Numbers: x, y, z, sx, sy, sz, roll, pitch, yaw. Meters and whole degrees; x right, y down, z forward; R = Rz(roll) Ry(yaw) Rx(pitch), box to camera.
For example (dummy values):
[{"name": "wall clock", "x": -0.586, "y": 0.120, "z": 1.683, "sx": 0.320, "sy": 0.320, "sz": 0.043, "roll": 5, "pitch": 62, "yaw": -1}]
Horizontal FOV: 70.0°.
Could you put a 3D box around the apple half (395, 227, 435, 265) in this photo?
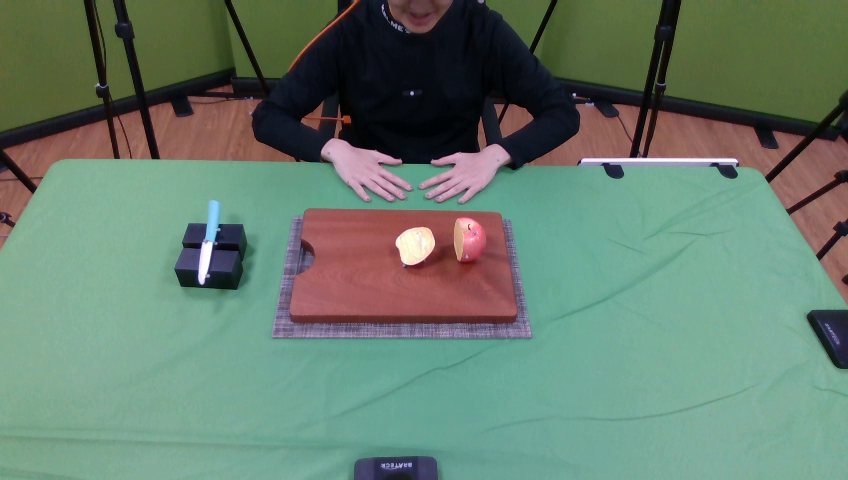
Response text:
[{"name": "apple half", "x": -0.011, "y": 0.015, "z": 1.126, "sx": 0.081, "sy": 0.033, "sz": 0.081, "roll": -9, "pitch": 58, "yaw": 15}]

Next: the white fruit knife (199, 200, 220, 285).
[{"name": "white fruit knife", "x": -0.391, "y": 0.001, "z": 1.104, "sx": 0.027, "sy": 0.016, "sz": 0.206, "roll": -18, "pitch": 49, "yaw": 11}]

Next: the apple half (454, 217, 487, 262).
[{"name": "apple half", "x": 0.088, "y": 0.000, "z": 1.126, "sx": 0.053, "sy": 0.075, "sz": 0.080, "roll": -2, "pitch": 42, "yaw": -11}]
